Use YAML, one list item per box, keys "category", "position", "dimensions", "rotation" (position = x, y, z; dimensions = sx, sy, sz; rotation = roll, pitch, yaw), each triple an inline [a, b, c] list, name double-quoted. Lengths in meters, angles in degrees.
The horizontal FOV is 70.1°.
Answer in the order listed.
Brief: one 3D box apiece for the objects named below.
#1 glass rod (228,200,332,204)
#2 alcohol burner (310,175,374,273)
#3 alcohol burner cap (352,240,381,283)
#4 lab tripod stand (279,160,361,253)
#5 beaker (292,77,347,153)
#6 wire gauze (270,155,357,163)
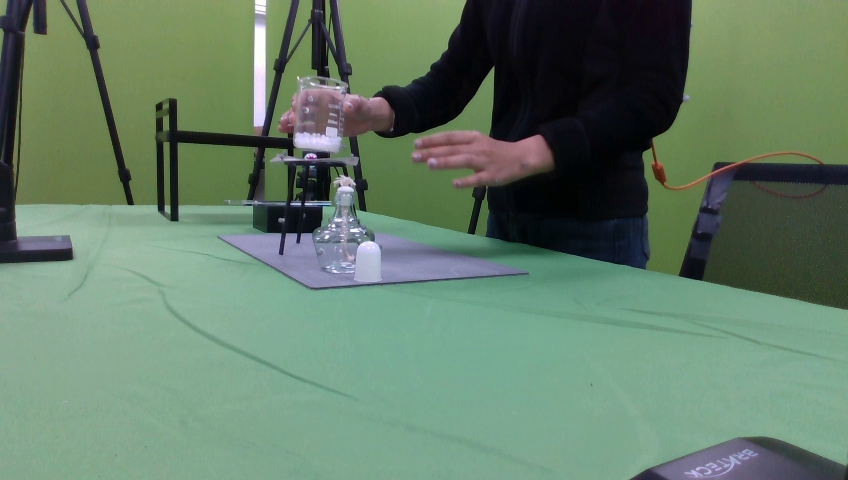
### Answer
- category: "glass rod"
  position: [-0.270, -0.072, 1.149]
  dimensions: [0.201, 0.008, 0.008]
  rotation: [-1, 8, -30]
- category: "alcohol burner"
  position: [-0.100, -0.020, 0.740]
  dimensions: [0.078, 0.119, 0.078]
  rotation: [1, 6, 0]
- category: "alcohol burner cap"
  position: [-0.065, 0.023, 0.690]
  dimensions: [0.034, 0.048, 0.034]
  rotation: [2, 8, 0]
- category: "lab tripod stand"
  position: [-0.166, -0.052, 0.897]
  dimensions: [0.148, 0.131, 0.148]
  rotation: [0, 7, 0]
- category: "beaker"
  position: [-0.155, -0.180, 0.877]
  dimensions: [0.073, 0.100, 0.084]
  rotation: [9, 6, 34]
- category: "wire gauze"
  position: [-0.159, -0.118, 0.886]
  dimensions: [0.122, 0.011, 0.125]
  rotation: [1, 7, -9]
